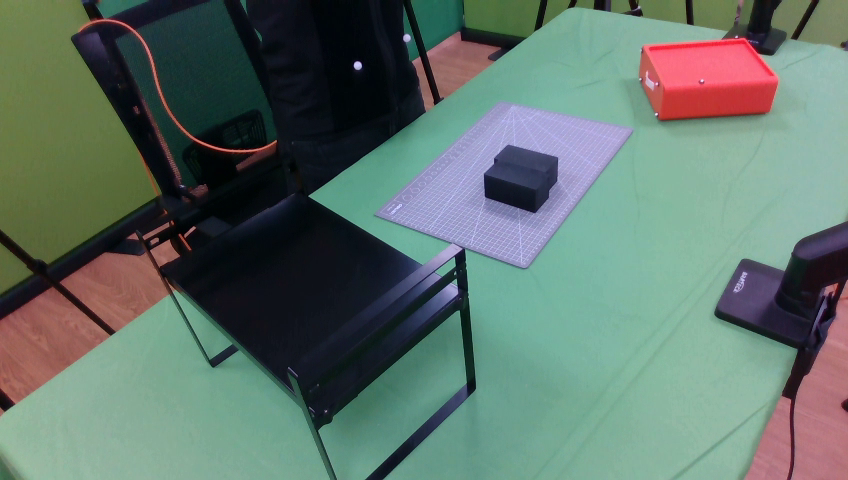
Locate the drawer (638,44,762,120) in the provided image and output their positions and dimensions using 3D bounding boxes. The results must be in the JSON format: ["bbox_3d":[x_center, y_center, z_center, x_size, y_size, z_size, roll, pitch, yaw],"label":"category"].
[{"bbox_3d":[0.561,-0.326,1.231,0.212,0.073,0.193,-1,41,4],"label":"drawer"}]

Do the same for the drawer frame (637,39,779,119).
[{"bbox_3d":[0.563,-0.329,1.227,0.213,0.083,0.201,-2,40,5],"label":"drawer frame"}]

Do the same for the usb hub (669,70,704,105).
[{"bbox_3d":[0.533,-0.310,1.229,0.049,0.025,0.125,-9,30,19],"label":"usb hub"}]
